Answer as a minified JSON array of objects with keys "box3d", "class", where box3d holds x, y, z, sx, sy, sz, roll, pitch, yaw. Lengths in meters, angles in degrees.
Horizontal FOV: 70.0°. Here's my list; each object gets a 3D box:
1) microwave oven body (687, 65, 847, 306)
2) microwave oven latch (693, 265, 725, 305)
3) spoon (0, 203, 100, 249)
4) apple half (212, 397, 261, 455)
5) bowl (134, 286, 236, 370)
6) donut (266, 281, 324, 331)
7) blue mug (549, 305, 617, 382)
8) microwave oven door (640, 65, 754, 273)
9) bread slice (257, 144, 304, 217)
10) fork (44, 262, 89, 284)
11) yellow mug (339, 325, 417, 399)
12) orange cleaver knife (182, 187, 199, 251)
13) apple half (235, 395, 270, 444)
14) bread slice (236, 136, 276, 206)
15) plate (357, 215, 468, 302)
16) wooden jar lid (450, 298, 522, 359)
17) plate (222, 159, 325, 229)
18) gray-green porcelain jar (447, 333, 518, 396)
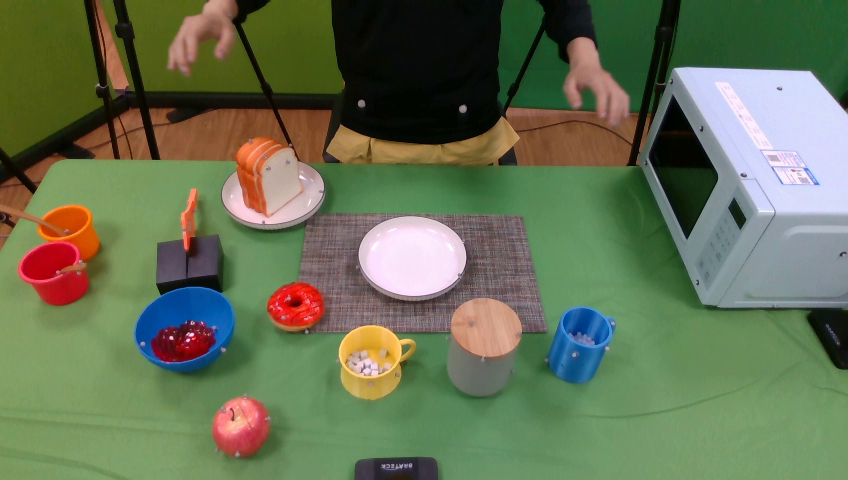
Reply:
[{"box3d":[0.669,-0.111,1.176,0.326,0.261,0.439,0,46,-3],"class":"microwave oven body"},{"box3d":[0.522,0.081,1.116,0.030,0.029,0.078,2,46,-1],"class":"microwave oven latch"},{"box3d":[-0.683,-0.031,1.088,0.195,0.021,0.041,33,33,-38],"class":"spoon"},{"box3d":[-0.276,0.276,0.877,0.053,0.075,0.080,-29,58,-21],"class":"apple half"},{"box3d":[-0.377,0.156,0.981,0.151,0.077,0.150,2,46,-2],"class":"bowl"},{"box3d":[-0.222,0.114,1.049,0.099,0.048,0.098,2,45,-2],"class":"donut"},{"box3d":[0.269,0.166,0.998,0.116,0.106,0.082,-19,51,-21],"class":"blue mug"},{"box3d":[0.523,-0.147,1.193,0.039,0.245,0.353,0,47,-3],"class":"microwave oven door"},{"box3d":[-0.290,-0.124,1.205,0.018,0.135,0.107,25,53,23],"class":"bread slice"},{"box3d":[-0.598,0.054,1.014,0.207,0.019,0.028,-15,29,45],"class":"fork"},{"box3d":[-0.072,0.190,0.978,0.131,0.064,0.099,-17,50,-20],"class":"yellow mug"},{"box3d":[-0.445,-0.045,1.163,0.012,0.077,0.210,-5,24,-13],"class":"orange cleaver knife"},{"box3d":[-0.245,0.259,0.893,0.033,0.082,0.081,-29,55,-22],"class":"apple half"},{"box3d":[-0.331,-0.147,1.225,0.019,0.132,0.105,24,47,26],"class":"bread slice"},{"box3d":[-0.022,0.037,1.141,0.208,0.039,0.206,2,46,-2],"class":"plate"},{"box3d":[0.093,0.135,0.914,0.108,0.021,0.107,3,48,-3],"class":"wooden jar lid"},{"box3d":[-0.307,-0.095,1.251,0.209,0.038,0.208,2,46,-2],"class":"plate"},{"box3d":[0.091,0.178,0.960,0.106,0.127,0.105,2,46,-2],"class":"gray-green porcelain jar"}]
